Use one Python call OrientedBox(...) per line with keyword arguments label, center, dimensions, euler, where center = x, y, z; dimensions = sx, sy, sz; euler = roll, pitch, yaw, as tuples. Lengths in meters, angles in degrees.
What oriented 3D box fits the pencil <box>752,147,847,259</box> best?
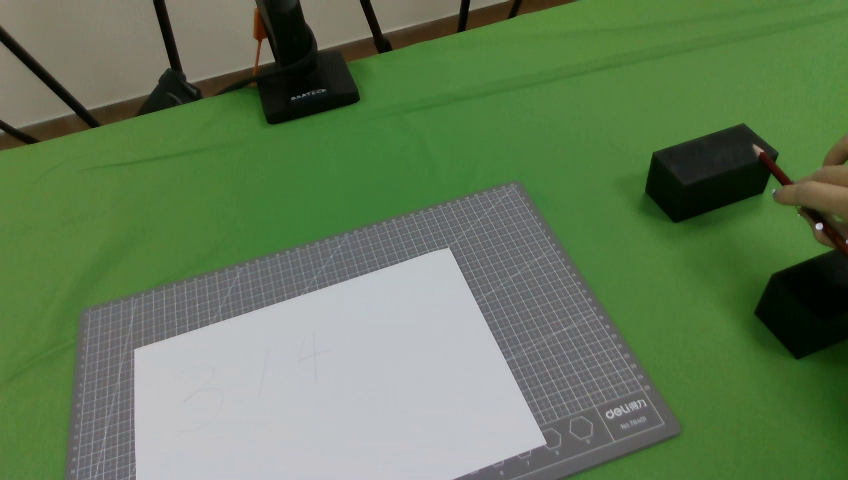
OrientedBox(label="pencil", center=(0.300, -0.015, 0.459), dimensions=(0.012, 0.012, 0.192), euler=(-11, 45, -1))
